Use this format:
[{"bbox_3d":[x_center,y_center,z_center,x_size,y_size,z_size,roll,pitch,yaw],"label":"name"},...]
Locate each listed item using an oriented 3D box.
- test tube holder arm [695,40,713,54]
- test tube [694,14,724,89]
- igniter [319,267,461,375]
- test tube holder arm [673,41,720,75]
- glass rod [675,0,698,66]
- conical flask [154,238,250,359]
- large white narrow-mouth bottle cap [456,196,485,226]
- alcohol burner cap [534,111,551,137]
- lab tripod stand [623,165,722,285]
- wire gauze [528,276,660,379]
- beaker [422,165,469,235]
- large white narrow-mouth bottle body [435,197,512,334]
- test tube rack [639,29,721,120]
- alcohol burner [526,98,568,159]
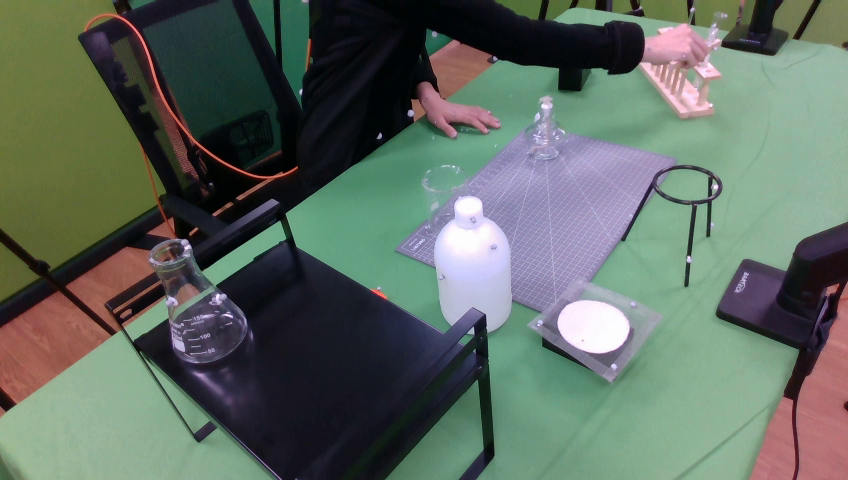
[{"bbox_3d":[0.525,-0.357,1.135,0.010,0.015,0.088,19,41,31],"label":"test tube holder arm"},{"bbox_3d":[0.543,-0.358,1.157,0.017,0.151,0.017,-1,45,2],"label":"test tube"},{"bbox_3d":[-0.060,0.108,0.862,0.274,0.025,0.057,29,62,34],"label":"igniter"},{"bbox_3d":[0.500,-0.335,1.104,0.013,0.015,0.179,24,43,36],"label":"test tube holder arm"},{"bbox_3d":[0.537,-0.425,1.244,0.008,0.200,0.008,0,47,0],"label":"glass rod"},{"bbox_3d":[-0.225,0.055,0.597,0.075,0.122,0.075,-5,41,4],"label":"conical flask"},{"bbox_3d":[0.057,-0.037,0.749,0.038,0.024,0.037,-4,40,4],"label":"large white narrow-mouth bottle cap"},{"bbox_3d":[0.234,-0.231,1.197,0.034,0.048,0.033,-6,37,5],"label":"alcohol burner cap"},{"bbox_3d":[0.365,-0.030,0.874,0.148,0.132,0.147,-6,41,6],"label":"lab tripod stand"},{"bbox_3d":[0.214,0.103,0.763,0.124,0.011,0.122,30,53,35],"label":"wire gauze"},{"bbox_3d":[0.041,-0.063,0.986,0.073,0.101,0.084,20,47,29],"label":"beaker"},{"bbox_3d":[0.066,0.028,0.805,0.102,0.195,0.101,-4,40,4],"label":"large white narrow-mouth bottle body"},{"bbox_3d":[0.527,-0.351,1.262,0.067,0.085,0.241,-8,40,1],"label":"test tube rack"},{"bbox_3d":[0.227,-0.210,1.118,0.078,0.119,0.077,-5,43,5],"label":"alcohol burner"}]
